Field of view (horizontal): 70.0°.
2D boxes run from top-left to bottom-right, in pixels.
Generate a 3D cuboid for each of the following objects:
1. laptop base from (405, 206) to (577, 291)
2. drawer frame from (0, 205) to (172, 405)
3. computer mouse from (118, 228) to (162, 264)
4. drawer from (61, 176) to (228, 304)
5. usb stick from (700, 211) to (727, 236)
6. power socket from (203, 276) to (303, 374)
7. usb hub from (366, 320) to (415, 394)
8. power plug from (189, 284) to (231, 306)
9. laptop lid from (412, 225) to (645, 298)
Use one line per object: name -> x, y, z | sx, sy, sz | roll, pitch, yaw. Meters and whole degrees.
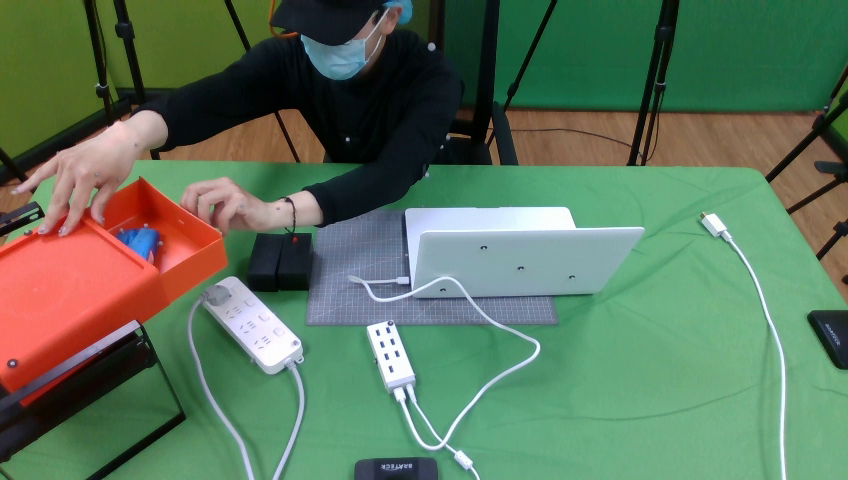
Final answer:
laptop base -> 0.143, 0.018, 1.196 | 0.355, 0.023, 0.234 | -1, 43, -6
drawer frame -> -0.487, 0.075, 0.798 | 0.201, 0.083, 0.213 | 30, 50, 22
computer mouse -> -0.425, 0.020, 0.880 | 0.063, 0.041, 0.116 | -3, 40, -6
drawer -> -0.426, 0.022, 0.860 | 0.193, 0.073, 0.211 | 32, 51, 23
usb stick -> 0.606, -0.038, 1.273 | 0.027, 0.021, 0.059 | -18, 56, -20
power socket -> -0.295, 0.141, 1.034 | 0.072, 0.033, 0.225 | -34, 58, -30
usb hub -> -0.056, 0.192, 1.009 | 0.049, 0.025, 0.124 | -12, 49, -16
power plug -> -0.368, 0.100, 1.037 | 0.072, 0.053, 0.035 | -23, 52, -26
laptop lid -> 0.161, 0.042, 1.012 | 0.357, 0.242, 0.013 | 0, 59, -7
